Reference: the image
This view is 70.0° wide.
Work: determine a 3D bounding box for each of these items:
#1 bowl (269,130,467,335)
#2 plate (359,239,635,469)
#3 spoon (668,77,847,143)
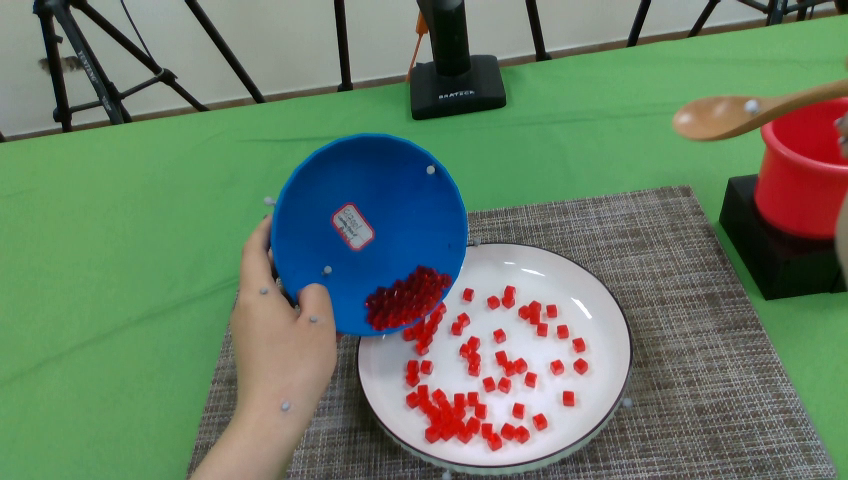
[{"bbox_3d":[-0.050,-0.008,0.476,0.151,0.152,0.076,-28,16,-17],"label":"bowl"},{"bbox_3d":[0.054,0.083,0.473,0.207,0.039,0.205,-6,44,6],"label":"plate"},{"bbox_3d":[0.195,-0.069,0.294,0.041,0.022,0.193,-43,15,-12],"label":"spoon"}]
